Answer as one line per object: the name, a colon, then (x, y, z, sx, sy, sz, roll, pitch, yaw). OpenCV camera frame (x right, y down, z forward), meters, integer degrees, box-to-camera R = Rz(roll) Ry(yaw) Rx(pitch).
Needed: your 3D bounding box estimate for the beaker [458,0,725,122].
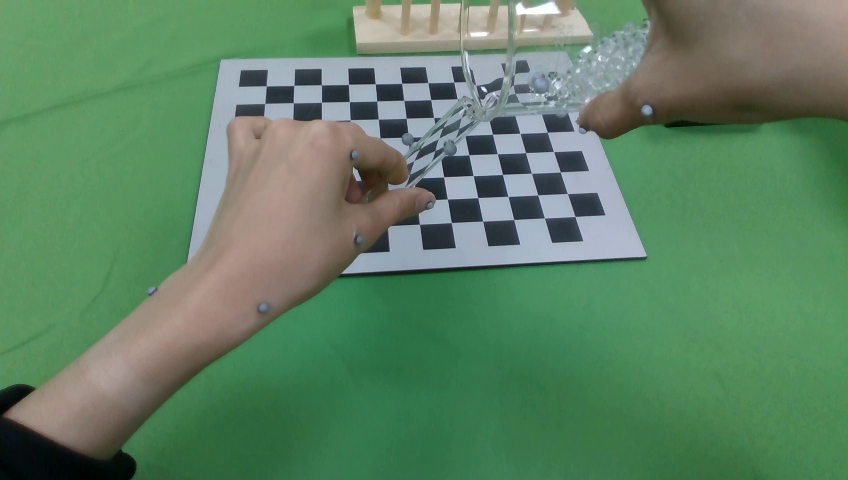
beaker: (0.072, -0.091, 0.274, 0.100, 0.084, 0.073, -6, 55, -11)

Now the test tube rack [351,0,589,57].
test tube rack: (0.049, -0.244, 0.607, 0.243, 0.086, 0.066, -4, 52, -7)

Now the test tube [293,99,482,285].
test tube: (-0.026, -0.021, 0.329, 0.017, 0.150, 0.017, 35, 30, -24)
